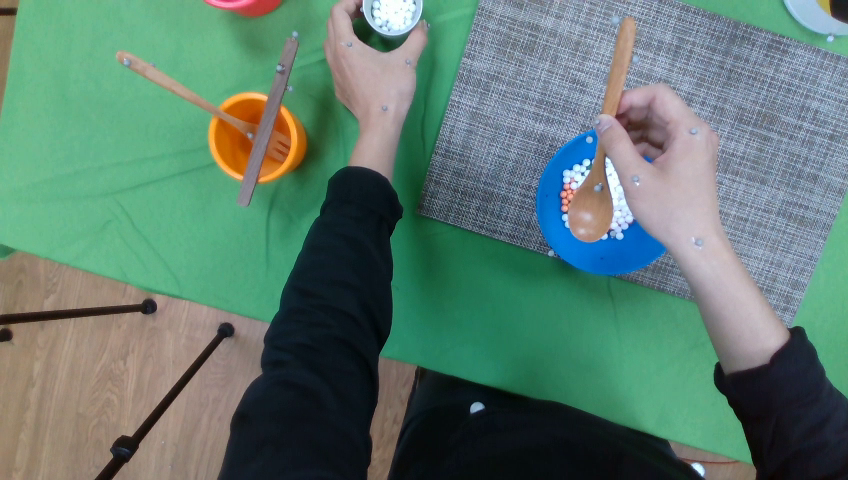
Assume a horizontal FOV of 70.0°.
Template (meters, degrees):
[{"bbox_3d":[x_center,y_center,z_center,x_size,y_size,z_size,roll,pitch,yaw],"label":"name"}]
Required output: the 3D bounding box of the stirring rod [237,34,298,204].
[{"bbox_3d":[-0.158,-0.121,0.610,0.014,0.006,0.176,19,99,0],"label":"stirring rod"}]

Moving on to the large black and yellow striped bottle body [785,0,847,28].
[{"bbox_3d":[0.432,-0.276,0.550,0.131,0.183,0.131,0,98,2],"label":"large black and yellow striped bottle body"}]

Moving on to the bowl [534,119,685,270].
[{"bbox_3d":[0.188,-0.048,0.643,0.151,0.076,0.151,0,99,2],"label":"bowl"}]

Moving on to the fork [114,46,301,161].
[{"bbox_3d":[-0.210,-0.134,0.613,0.028,0.018,0.209,-51,137,10],"label":"fork"}]

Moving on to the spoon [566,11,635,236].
[{"bbox_3d":[0.146,-0.084,0.490,0.041,0.021,0.195,28,138,30],"label":"spoon"}]

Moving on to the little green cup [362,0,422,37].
[{"bbox_3d":[-0.032,-0.243,0.631,0.061,0.038,0.061,0,93,2],"label":"little green cup"}]
